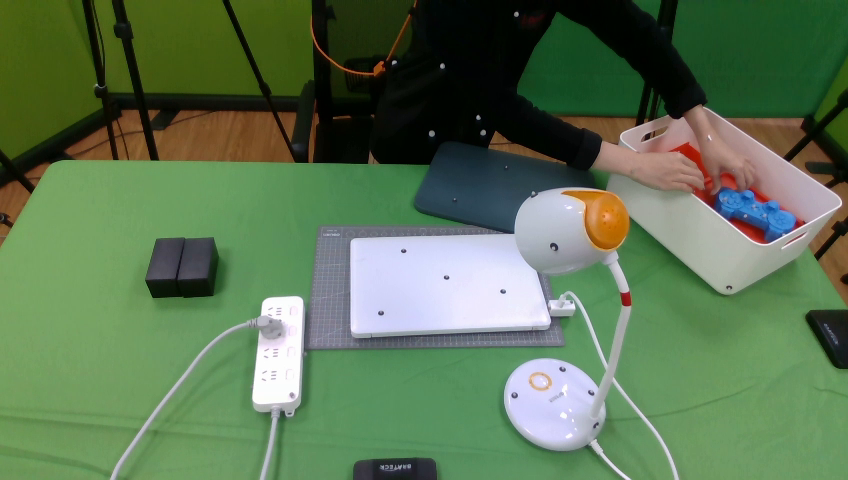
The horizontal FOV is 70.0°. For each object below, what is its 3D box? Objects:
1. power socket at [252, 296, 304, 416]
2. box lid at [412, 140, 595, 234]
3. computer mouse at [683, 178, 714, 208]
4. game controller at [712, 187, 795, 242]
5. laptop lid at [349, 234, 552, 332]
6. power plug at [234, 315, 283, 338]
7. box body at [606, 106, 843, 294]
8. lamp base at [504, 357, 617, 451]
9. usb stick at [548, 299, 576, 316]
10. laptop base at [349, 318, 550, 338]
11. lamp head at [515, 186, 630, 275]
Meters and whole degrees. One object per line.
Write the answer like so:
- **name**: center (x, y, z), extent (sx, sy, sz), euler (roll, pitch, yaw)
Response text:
- **power socket**: center (-0.238, 0.181, 0.997), extent (0.072, 0.033, 0.225), euler (-3, 47, -5)
- **box lid**: center (0.182, -0.109, 1.326), extent (0.371, 0.015, 0.262), euler (13, 46, 9)
- **computer mouse**: center (0.596, -0.078, 1.291), extent (0.117, 0.041, 0.063), euler (56, 46, -7)
- **game controller**: center (0.643, -0.059, 1.184), extent (0.154, 0.052, 0.097), euler (28, 54, 20)
- **laptop lid**: center (0.040, 0.071, 1.118), extent (0.357, 0.013, 0.240), euler (0, 44, -5)
- **power plug**: center (-0.269, 0.143, 1.000), extent (0.072, 0.053, 0.035), euler (4, 47, 3)
- **box body**: center (0.582, -0.089, 1.230), extent (0.254, 0.161, 0.361), euler (-22, 52, -23)
- **lamp base**: center (0.220, 0.211, 0.903), extent (0.160, 0.181, 0.178), euler (-33, 59, -30)
- **usb stick**: center (0.239, 0.121, 1.084), extent (0.059, 0.027, 0.021), euler (-1, 51, -1)
- **laptop base**: center (0.039, 0.081, 1.125), extent (0.355, 0.023, 0.234), euler (-2, 43, -6)
- **lamp head**: center (0.188, -0.013, 0.728), extent (0.112, 0.112, 0.122), euler (-25, 9, -25)
